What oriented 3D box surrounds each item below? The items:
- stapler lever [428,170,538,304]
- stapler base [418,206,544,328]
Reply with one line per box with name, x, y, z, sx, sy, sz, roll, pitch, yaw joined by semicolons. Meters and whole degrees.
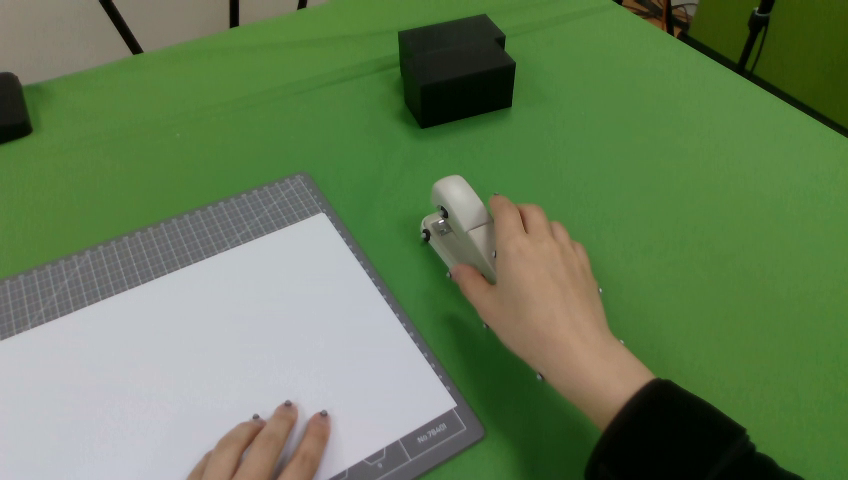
stapler lever;0.041;-0.006;0.450;0.027;0.040;0.117;-26;54;-17
stapler base;0.040;0.010;0.470;0.041;0.024;0.129;-25;54;-17
